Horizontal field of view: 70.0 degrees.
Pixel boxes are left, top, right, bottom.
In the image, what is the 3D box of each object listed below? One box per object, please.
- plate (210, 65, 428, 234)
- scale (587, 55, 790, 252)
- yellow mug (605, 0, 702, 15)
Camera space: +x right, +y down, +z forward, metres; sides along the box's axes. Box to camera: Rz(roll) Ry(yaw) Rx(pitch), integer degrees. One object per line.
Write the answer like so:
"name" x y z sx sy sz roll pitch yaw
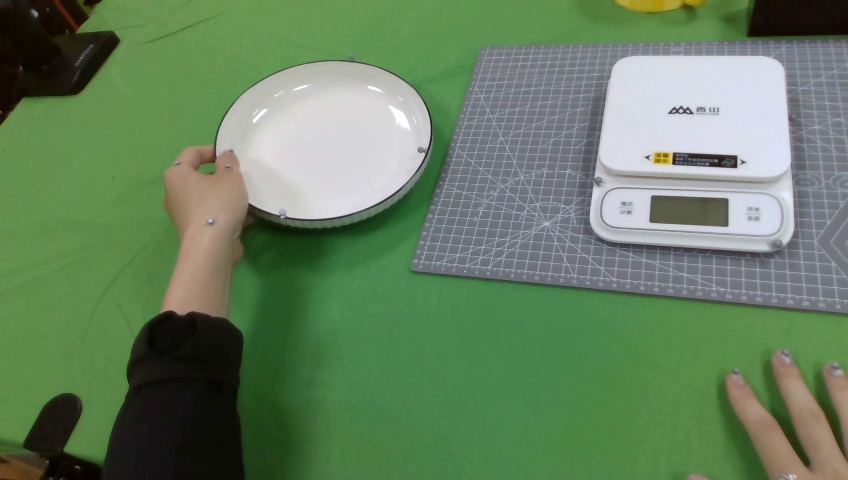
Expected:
"plate" -0.099 -0.088 0.592 0.209 0.038 0.207 0 57 1
"scale" 0.222 -0.081 0.514 0.148 0.032 0.199 4 56 19
"yellow mug" 0.250 -0.291 0.644 0.100 0.064 0.129 -31 53 -7
